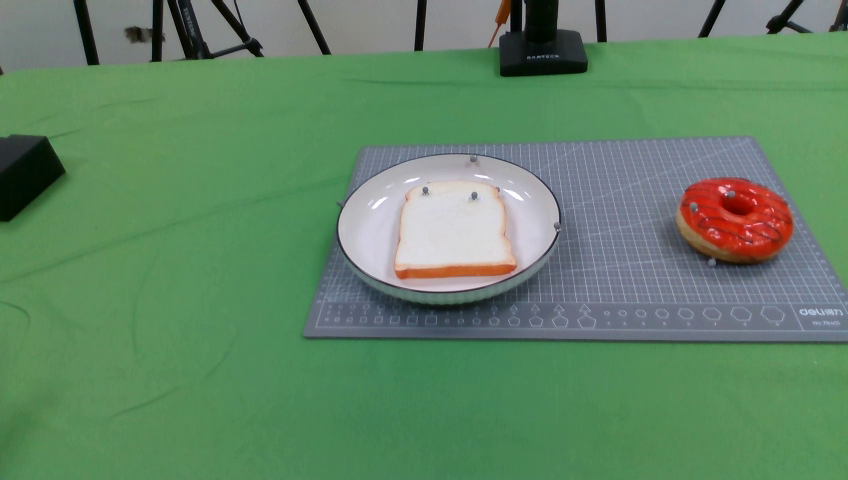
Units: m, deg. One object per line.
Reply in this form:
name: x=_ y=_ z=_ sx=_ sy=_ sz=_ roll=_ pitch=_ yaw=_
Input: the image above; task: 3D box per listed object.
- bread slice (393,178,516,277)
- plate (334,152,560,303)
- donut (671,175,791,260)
bread slice: x=0.024 y=-0.015 z=0.575 sx=0.107 sy=0.018 sz=0.133 roll=-4 pitch=41 yaw=0
plate: x=0.021 y=-0.012 z=0.571 sx=0.209 sy=0.038 sz=0.207 roll=-3 pitch=41 yaw=3
donut: x=0.275 y=-0.020 z=0.545 sx=0.099 sy=0.049 sz=0.098 roll=-2 pitch=43 yaw=2
